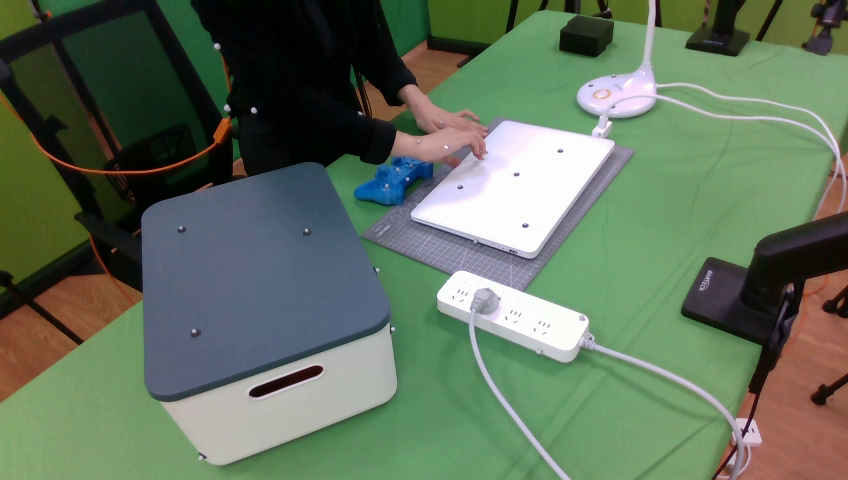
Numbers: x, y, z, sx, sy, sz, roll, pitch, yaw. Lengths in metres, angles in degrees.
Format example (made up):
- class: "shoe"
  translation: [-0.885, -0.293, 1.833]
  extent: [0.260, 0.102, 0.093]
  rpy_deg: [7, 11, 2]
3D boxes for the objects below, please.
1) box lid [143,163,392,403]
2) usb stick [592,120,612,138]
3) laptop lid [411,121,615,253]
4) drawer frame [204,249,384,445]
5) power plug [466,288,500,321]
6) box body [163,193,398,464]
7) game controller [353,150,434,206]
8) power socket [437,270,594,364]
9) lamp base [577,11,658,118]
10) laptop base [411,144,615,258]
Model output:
- class: "box lid"
  translation: [-0.212, 0.025, 0.753]
  extent: [0.264, 0.015, 0.368]
  rpy_deg: [-18, 40, -13]
- class: "usb stick"
  translation: [0.335, -0.203, 1.149]
  extent: [0.021, 0.027, 0.059]
  rpy_deg: [25, 53, 26]
- class: "laptop lid"
  translation: [0.164, -0.112, 1.067]
  extent: [0.240, 0.013, 0.357]
  rpy_deg: [19, 46, 30]
- class: "drawer frame"
  translation: [-0.174, 0.129, 0.789]
  extent: [0.202, 0.083, 0.212]
  rpy_deg: [-16, 45, -7]
- class: "power plug"
  translation: [0.072, 0.093, 0.813]
  extent: [0.073, 0.053, 0.035]
  rpy_deg: [-37, 49, -28]
- class: "box body"
  translation: [-0.205, 0.080, 0.802]
  extent: [0.255, 0.161, 0.361]
  rpy_deg: [-18, 41, -13]
- class: "game controller"
  translation: [-0.051, -0.121, 1.105]
  extent: [0.096, 0.052, 0.155]
  rpy_deg: [23, 49, 28]
- class: "power socket"
  translation: [0.118, 0.102, 0.830]
  extent: [0.225, 0.033, 0.072]
  rpy_deg: [20, 48, 28]
- class: "lamp base"
  translation: [0.406, -0.363, 1.222]
  extent: [0.180, 0.181, 0.159]
  rpy_deg: [-20, 42, -18]
- class: "laptop base"
  translation: [0.167, -0.102, 1.074]
  extent: [0.234, 0.023, 0.355]
  rpy_deg: [17, 46, 30]
